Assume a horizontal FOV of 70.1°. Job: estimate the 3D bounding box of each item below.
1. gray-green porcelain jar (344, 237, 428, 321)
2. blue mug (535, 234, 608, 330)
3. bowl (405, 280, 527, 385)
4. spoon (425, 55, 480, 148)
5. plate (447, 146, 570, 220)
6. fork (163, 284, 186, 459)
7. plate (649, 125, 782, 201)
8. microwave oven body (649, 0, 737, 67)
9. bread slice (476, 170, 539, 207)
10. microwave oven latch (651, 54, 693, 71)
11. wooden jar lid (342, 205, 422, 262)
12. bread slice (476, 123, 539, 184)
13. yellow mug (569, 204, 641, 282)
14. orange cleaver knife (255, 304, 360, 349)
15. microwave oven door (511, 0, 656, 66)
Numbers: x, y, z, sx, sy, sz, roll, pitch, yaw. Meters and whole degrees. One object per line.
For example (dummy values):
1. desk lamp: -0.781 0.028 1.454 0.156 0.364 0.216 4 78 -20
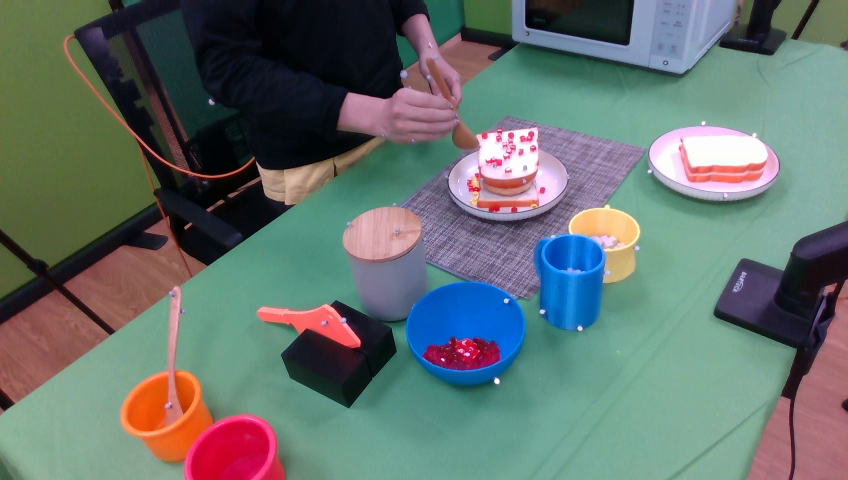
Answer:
1. gray-green porcelain jar: -0.050 0.042 0.849 0.106 0.127 0.105 -4 41 4
2. blue mug: 0.191 0.048 0.824 0.082 0.106 0.115 -26 44 -21
3. bowl: 0.055 0.131 0.767 0.151 0.077 0.150 -4 40 4
4. spoon: 0.037 -0.189 0.852 0.041 0.195 0.021 2 58 25
5. plate: 0.145 -0.098 1.046 0.209 0.038 0.208 -4 41 4
6. fork: -0.302 0.157 0.733 0.028 0.019 0.207 -3 84 15
7. plate: 0.493 -0.128 1.036 0.207 0.039 0.206 -4 41 4
8. microwave oven body: 0.475 -0.602 1.411 0.438 0.261 0.327 23 50 32
9. bread slice: 0.144 -0.103 1.059 0.105 0.019 0.131 -1 44 5
10. microwave oven latch: 0.532 -0.386 1.301 0.078 0.029 0.030 27 52 34
11. wooden jar lid: -0.055 -0.006 0.808 0.108 0.021 0.108 -6 40 6
12. bread slice: 0.143 -0.144 1.009 0.107 0.018 0.133 -7 47 8
13. yellow mug: 0.268 -0.005 0.904 0.099 0.064 0.130 7 41 15
14. orange cleaver knife: -0.161 0.115 0.813 0.210 0.077 0.012 -4 32 47
15. microwave oven door: 0.351 -0.539 1.349 0.353 0.245 0.039 24 50 31
